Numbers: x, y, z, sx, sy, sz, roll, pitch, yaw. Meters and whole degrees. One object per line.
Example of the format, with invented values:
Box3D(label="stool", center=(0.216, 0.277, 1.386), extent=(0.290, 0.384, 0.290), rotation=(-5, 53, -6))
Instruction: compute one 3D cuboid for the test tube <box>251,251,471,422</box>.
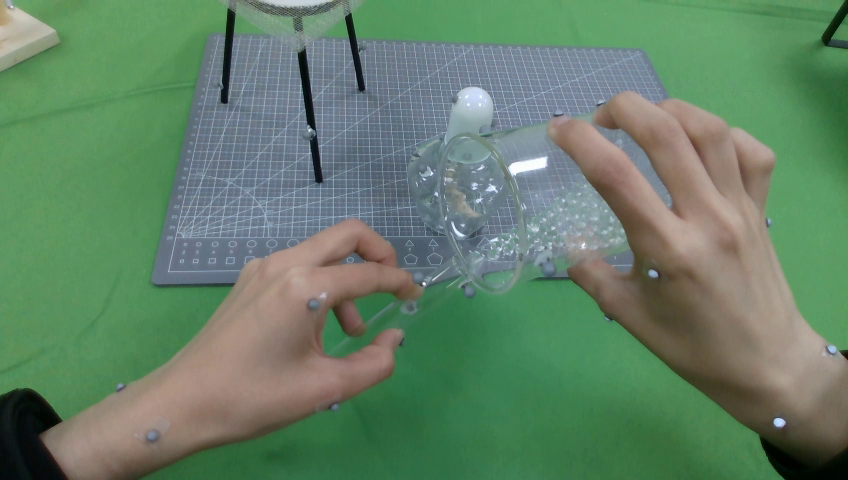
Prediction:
Box3D(label="test tube", center=(-0.037, 0.054, 0.323), extent=(0.150, 0.017, 0.017), rotation=(-38, 56, 15))

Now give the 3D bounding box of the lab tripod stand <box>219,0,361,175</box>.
Box3D(label="lab tripod stand", center=(-0.099, -0.146, 0.473), extent=(0.148, 0.132, 0.147), rotation=(5, 52, -6))

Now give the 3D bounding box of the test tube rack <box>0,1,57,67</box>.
Box3D(label="test tube rack", center=(-0.429, -0.154, 0.470), extent=(0.066, 0.086, 0.241), rotation=(31, 54, 16))

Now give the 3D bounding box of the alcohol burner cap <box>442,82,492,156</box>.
Box3D(label="alcohol burner cap", center=(0.030, -0.083, 0.406), extent=(0.034, 0.048, 0.033), rotation=(2, 56, -3))

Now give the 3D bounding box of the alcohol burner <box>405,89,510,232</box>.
Box3D(label="alcohol burner", center=(0.027, -0.062, 0.436), extent=(0.078, 0.120, 0.077), rotation=(5, 51, -5))

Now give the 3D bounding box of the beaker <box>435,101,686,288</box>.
Box3D(label="beaker", center=(0.066, -0.024, 0.293), extent=(0.100, 0.084, 0.073), rotation=(-15, 57, -22))

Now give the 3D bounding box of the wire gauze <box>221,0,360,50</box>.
Box3D(label="wire gauze", center=(-0.095, -0.187, 0.420), extent=(0.124, 0.011, 0.121), rotation=(32, 55, 15))
